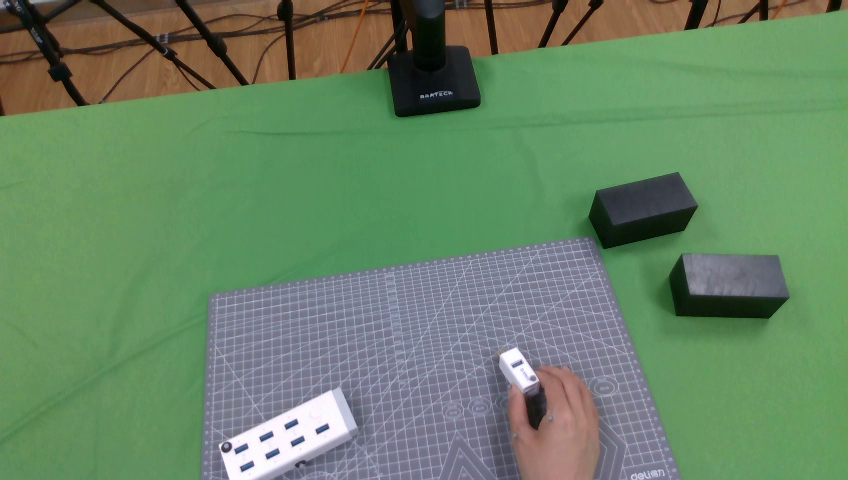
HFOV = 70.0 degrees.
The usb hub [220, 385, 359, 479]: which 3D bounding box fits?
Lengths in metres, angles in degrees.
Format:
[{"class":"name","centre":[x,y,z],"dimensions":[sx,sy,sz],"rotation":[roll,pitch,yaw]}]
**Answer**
[{"class":"usb hub","centre":[-0.130,0.191,0.591],"dimensions":[0.125,0.025,0.049],"rotation":[-23,59,-13]}]

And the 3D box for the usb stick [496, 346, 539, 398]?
[{"class":"usb stick","centre":[0.091,0.128,0.613],"dimensions":[0.021,0.027,0.058],"rotation":[-22,45,-15]}]
